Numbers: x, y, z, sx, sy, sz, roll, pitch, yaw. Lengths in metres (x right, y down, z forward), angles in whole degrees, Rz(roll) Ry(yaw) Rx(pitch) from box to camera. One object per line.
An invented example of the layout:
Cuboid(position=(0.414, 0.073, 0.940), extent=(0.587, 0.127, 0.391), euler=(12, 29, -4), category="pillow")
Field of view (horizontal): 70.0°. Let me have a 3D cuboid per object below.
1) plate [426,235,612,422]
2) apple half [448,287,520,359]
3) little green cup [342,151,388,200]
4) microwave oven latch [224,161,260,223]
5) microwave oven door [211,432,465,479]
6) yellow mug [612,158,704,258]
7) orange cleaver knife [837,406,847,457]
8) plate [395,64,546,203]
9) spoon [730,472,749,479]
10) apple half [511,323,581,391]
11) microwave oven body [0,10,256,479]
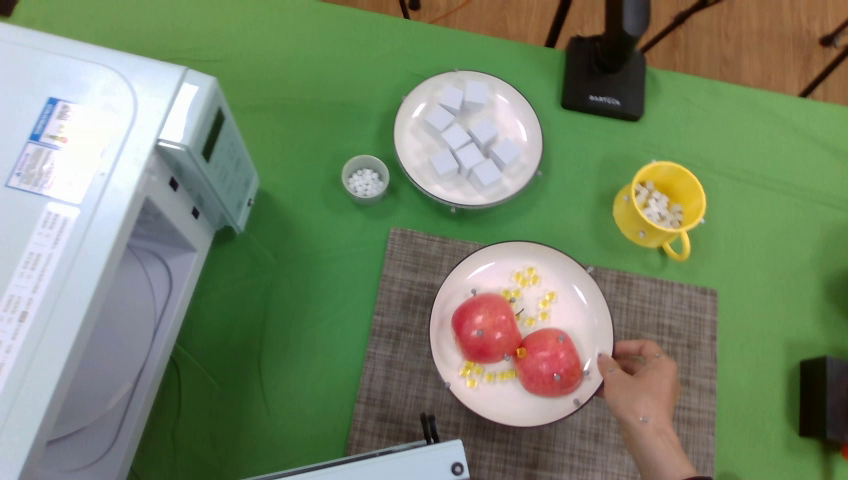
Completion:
Cuboid(position=(0.105, 0.098, 0.687), extent=(0.209, 0.038, 0.208), euler=(0, 77, -1), category="plate")
Cuboid(position=(0.066, 0.091, 0.672), extent=(0.075, 0.053, 0.080), euler=(-15, 78, -2), category="apple half")
Cuboid(position=(-0.078, -0.083, 0.804), extent=(0.061, 0.039, 0.061), euler=(2, 73, -6), category="little green cup")
Cuboid(position=(-0.232, -0.064, 0.765), extent=(0.030, 0.029, 0.079), euler=(16, 73, -1), category="microwave oven latch")
Cuboid(position=(-0.150, 0.235, 0.573), extent=(0.356, 0.245, 0.039), euler=(-10, 73, -8), category="microwave oven door")
Cuboid(position=(0.320, -0.038, 0.816), extent=(0.100, 0.064, 0.130), euler=(-16, 76, -11), category="yellow mug")
Cuboid(position=(0.533, 0.245, 0.740), extent=(0.012, 0.077, 0.211), euler=(12, 95, 3), category="orange cleaver knife")
Cuboid(position=(0.063, -0.144, 0.839), extent=(0.208, 0.039, 0.206), euler=(2, 73, -5), category="plate")
Cuboid(position=(0.430, 0.363, 0.724), extent=(0.041, 0.022, 0.193), euler=(-31, 77, -32), category="spoon")
Cuboid(position=(0.137, 0.130, 0.674), extent=(0.081, 0.033, 0.081), euler=(0, 73, 0), category="apple half")
Cuboid(position=(-0.408, 0.033, 0.616), extent=(0.326, 0.261, 0.439), euler=(14, 73, -1), category="microwave oven body")
